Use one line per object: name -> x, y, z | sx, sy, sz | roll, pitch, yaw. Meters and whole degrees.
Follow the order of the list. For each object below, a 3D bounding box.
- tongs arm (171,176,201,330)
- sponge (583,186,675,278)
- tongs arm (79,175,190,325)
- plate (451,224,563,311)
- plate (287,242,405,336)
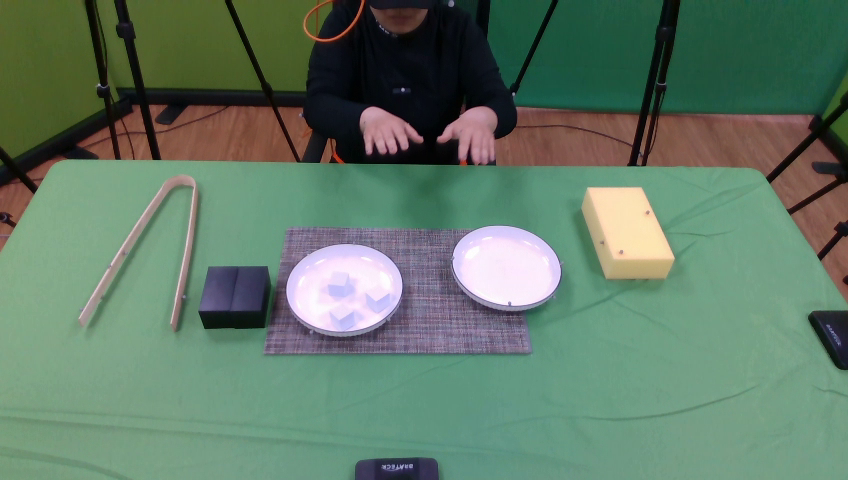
tongs arm -> -0.453, 0.010, 1.151 | 0.028, 0.028, 0.385 | -6, 47, -6
sponge -> 0.404, -0.020, 1.215 | 0.118, 0.061, 0.205 | -2, 46, -4
tongs arm -> -0.534, 0.004, 1.145 | 0.051, 0.026, 0.382 | 6, 45, 1
plate -> 0.154, 0.053, 1.140 | 0.209, 0.038, 0.208 | 2, 46, -2
plate -> -0.138, 0.090, 1.084 | 0.208, 0.039, 0.206 | 2, 46, -2
